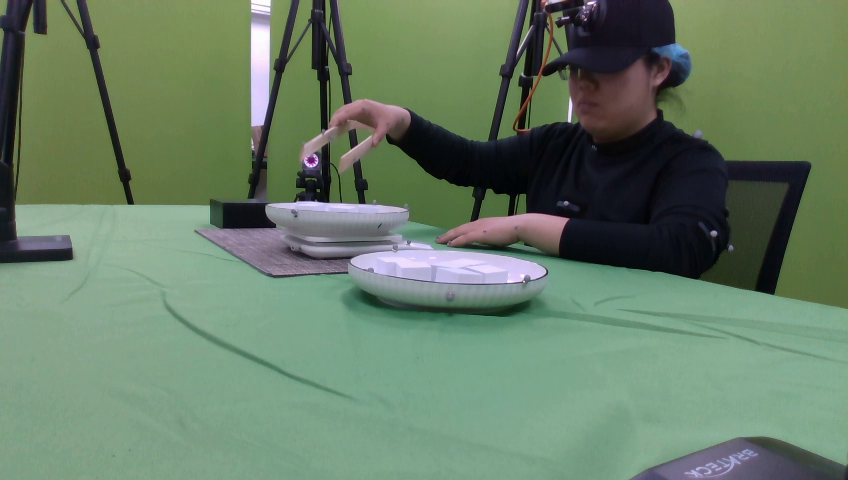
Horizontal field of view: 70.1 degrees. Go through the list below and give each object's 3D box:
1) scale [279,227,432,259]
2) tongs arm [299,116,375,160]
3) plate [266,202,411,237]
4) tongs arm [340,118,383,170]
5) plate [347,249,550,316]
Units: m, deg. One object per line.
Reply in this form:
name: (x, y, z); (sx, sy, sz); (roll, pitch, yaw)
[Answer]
scale: (-0.100, 0.001, 0.899); (0.202, 0.031, 0.148); (-1, 9, -31)
tongs arm: (-0.141, -0.182, 1.052); (0.051, 0.026, 0.384); (12, 19, 0)
plate: (-0.123, -0.030, 0.879); (0.208, 0.039, 0.207); (2, 6, 0)
tongs arm: (-0.105, -0.173, 1.052); (0.028, 0.028, 0.387); (9, 19, 1)
plate: (0.025, 0.042, 0.627); (0.209, 0.038, 0.209); (2, 7, 0)
